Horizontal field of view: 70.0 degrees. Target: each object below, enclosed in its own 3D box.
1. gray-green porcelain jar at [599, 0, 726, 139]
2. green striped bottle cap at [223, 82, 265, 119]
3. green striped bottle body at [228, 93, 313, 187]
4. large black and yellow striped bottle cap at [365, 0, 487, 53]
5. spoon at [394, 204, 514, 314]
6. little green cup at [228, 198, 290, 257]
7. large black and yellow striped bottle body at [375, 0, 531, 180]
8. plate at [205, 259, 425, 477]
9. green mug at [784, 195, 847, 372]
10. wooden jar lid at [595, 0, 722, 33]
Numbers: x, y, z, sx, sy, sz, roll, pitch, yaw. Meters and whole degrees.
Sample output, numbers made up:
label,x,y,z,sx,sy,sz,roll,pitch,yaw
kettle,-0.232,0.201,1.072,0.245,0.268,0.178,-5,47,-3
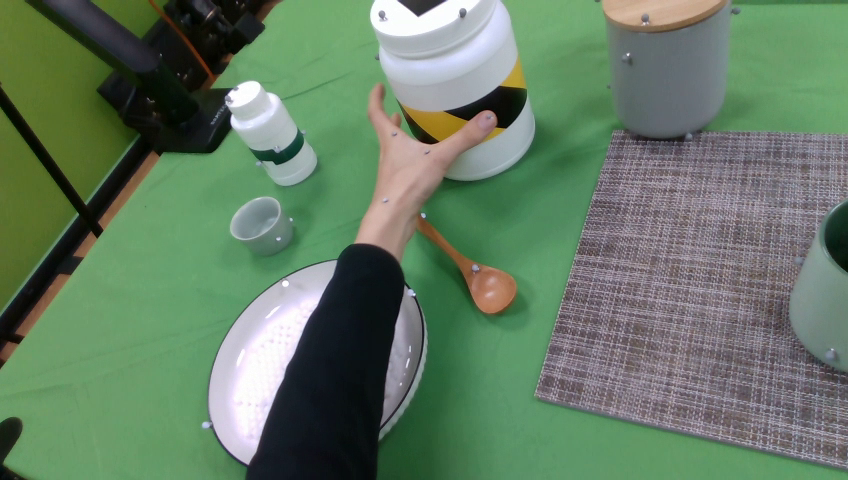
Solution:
label,x,y,z,sx,sy,sz,roll,pitch,yaw
gray-green porcelain jar,0.224,-0.169,0.573,0.105,0.128,0.105,-11,47,12
green striped bottle cap,-0.201,-0.155,0.676,0.044,0.020,0.044,-10,53,13
green striped bottle body,-0.184,-0.124,0.714,0.063,0.120,0.062,-12,50,15
large black and yellow striped bottle cap,0.001,-0.213,0.551,0.115,0.019,0.114,-11,50,13
spoon,0.022,0.010,0.588,0.041,0.022,0.191,-45,50,0
little green cup,-0.183,-0.013,0.680,0.061,0.039,0.061,-11,49,14
large black and yellow striped bottle body,0.029,-0.165,0.614,0.130,0.186,0.129,-11,50,14
plate,-0.095,0.111,0.546,0.209,0.038,0.207,-11,50,14
green mug,0.307,0.034,0.389,0.124,0.106,0.092,16,61,32
wooden jar lid,0.206,-0.210,0.528,0.108,0.021,0.107,-14,47,15
